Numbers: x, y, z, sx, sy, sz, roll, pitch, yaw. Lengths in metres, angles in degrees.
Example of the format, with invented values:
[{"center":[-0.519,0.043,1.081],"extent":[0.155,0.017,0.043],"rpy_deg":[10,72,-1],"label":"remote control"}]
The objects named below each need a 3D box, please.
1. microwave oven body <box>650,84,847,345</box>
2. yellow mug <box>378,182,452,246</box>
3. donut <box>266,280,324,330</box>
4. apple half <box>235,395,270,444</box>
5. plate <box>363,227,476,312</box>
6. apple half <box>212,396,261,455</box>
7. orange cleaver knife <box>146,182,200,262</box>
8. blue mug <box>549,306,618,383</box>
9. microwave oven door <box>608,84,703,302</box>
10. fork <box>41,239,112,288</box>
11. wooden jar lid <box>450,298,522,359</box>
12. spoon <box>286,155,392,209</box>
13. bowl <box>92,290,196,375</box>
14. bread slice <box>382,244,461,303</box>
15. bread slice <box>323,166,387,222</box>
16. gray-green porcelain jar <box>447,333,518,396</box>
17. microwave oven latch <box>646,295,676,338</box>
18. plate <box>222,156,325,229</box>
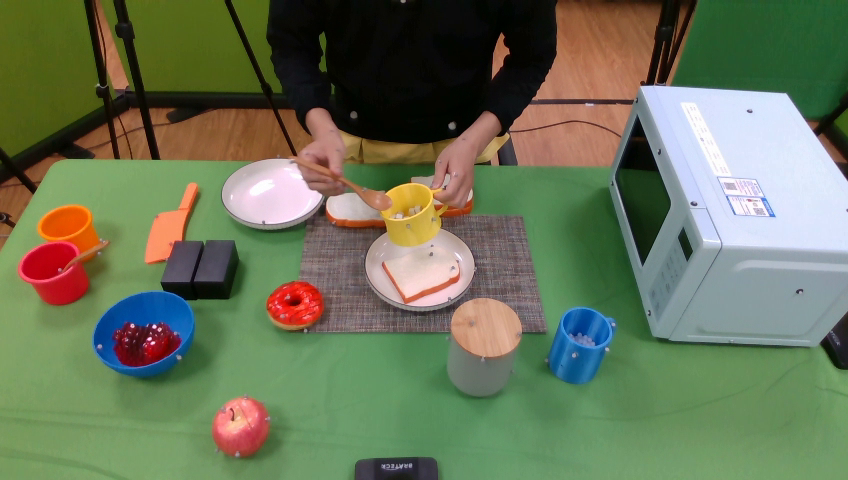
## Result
[{"center":[0.569,-0.054,1.116],"extent":[0.326,0.261,0.439],"rpy_deg":[2,46,-1],"label":"microwave oven body"},{"center":[-0.011,-0.053,1.065],"extent":[0.131,0.064,0.099],"rpy_deg":[-25,41,-10],"label":"yellow mug"},{"center":[-0.223,0.113,1.051],"extent":[0.099,0.048,0.098],"rpy_deg":[2,45,-2],"label":"donut"},{"center":[-0.245,0.259,0.893],"extent":[0.033,0.082,0.081],"rpy_deg":[-29,55,-22],"label":"apple half"},{"center":[-0.009,0.054,1.126],"extent":[0.208,0.039,0.206],"rpy_deg":[2,47,-2],"label":"plate"},{"center":[-0.276,0.276,0.877],"extent":[0.053,0.075,0.080],"rpy_deg":[-29,58,-21],"label":"apple half"},{"center":[-0.494,-0.039,1.199],"extent":[0.077,0.012,0.210],"rpy_deg":[-3,48,2],"label":"orange cleaver knife"},{"center":[0.269,0.167,0.997],"extent":[0.116,0.106,0.082],"rpy_deg":[-19,51,-21],"label":"blue mug"},{"center":[0.424,-0.096,1.138],"extent":[0.039,0.245,0.353],"rpy_deg":[2,47,-1],"label":"microwave oven door"},{"center":[-0.591,0.040,1.028],"extent":[0.207,0.019,0.028],"rpy_deg":[-27,37,29],"label":"fork"},{"center":[0.093,0.135,0.914],"extent":[0.108,0.021,0.107],"rpy_deg":[2,48,-3],"label":"wooden jar lid"},{"center":[-0.134,-0.096,0.977],"extent":[0.195,0.021,0.041],"rpy_deg":[27,44,-34],"label":"spoon"},{"center":[-0.436,0.161,0.971],"extent":[0.151,0.077,0.150],"rpy_deg":[2,46,-2],"label":"bowl"},{"center":[0.000,0.054,1.130],"extent":[0.131,0.019,0.104],"rpy_deg":[-20,53,-19],"label":"bread slice"},{"center":[-0.140,-0.092,1.224],"extent":[0.134,0.018,0.106],"rpy_deg":[-19,51,6],"label":"bread slice"},{"center":[0.091,0.178,0.960],"extent":[0.106,0.127,0.105],"rpy_deg":[2,46,-2],"label":"gray-green porcelain jar"},{"center":[0.413,0.133,1.061],"extent":[0.030,0.029,0.078],"rpy_deg":[4,46,1],"label":"microwave oven latch"},{"center":[-0.308,-0.095,1.251],"extent":[0.209,0.038,0.208],"rpy_deg":[2,47,-2],"label":"plate"}]
